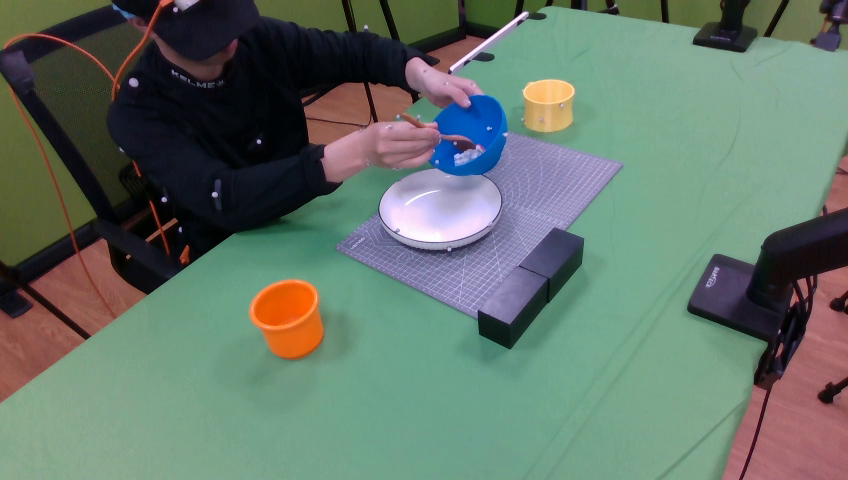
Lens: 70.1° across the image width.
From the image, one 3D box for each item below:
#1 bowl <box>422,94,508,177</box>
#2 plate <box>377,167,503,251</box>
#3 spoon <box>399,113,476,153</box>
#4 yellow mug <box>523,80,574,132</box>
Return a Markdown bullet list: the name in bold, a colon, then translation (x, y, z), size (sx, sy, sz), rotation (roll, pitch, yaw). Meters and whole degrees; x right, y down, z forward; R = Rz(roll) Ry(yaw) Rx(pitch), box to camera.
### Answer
- **bowl**: translation (0.081, -0.159, 1.010), size (0.150, 0.077, 0.150), rotation (-17, 53, 25)
- **plate**: translation (0.027, -0.050, 1.007), size (0.209, 0.038, 0.208), rotation (-4, 41, 4)
- **spoon**: translation (0.024, -0.167, 0.954), size (0.041, 0.021, 0.195), rotation (6, -1, 36)
- **yellow mug**: translation (0.242, -0.278, 1.224), size (0.100, 0.064, 0.129), rotation (-24, 42, -18)
